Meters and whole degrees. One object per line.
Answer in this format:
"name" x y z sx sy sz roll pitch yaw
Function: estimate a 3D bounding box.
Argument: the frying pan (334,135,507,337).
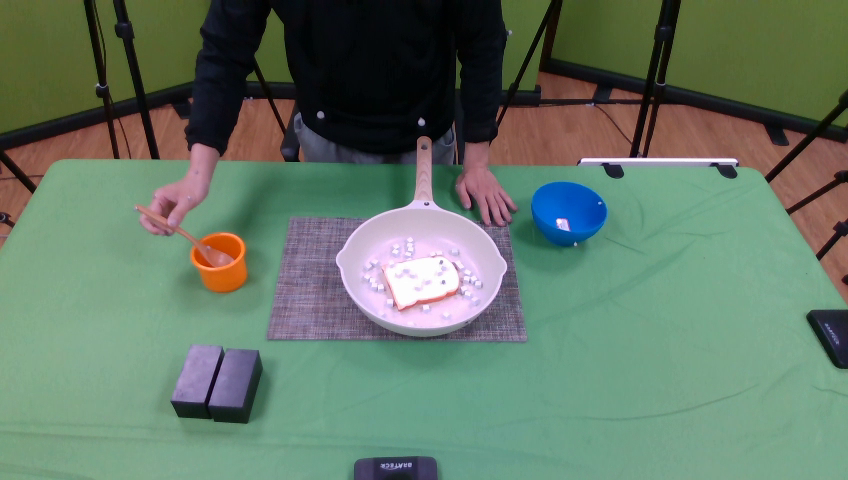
"frying pan" -0.004 -0.026 1.160 0.307 0.103 0.485 4 55 -2

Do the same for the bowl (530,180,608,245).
"bowl" 0.284 -0.044 1.222 0.151 0.077 0.150 2 46 -2

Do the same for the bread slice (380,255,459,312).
"bread slice" -0.005 0.074 1.119 0.134 0.018 0.106 -16 50 -16

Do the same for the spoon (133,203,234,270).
"spoon" -0.409 -0.007 1.038 0.021 0.195 0.041 -31 35 24
